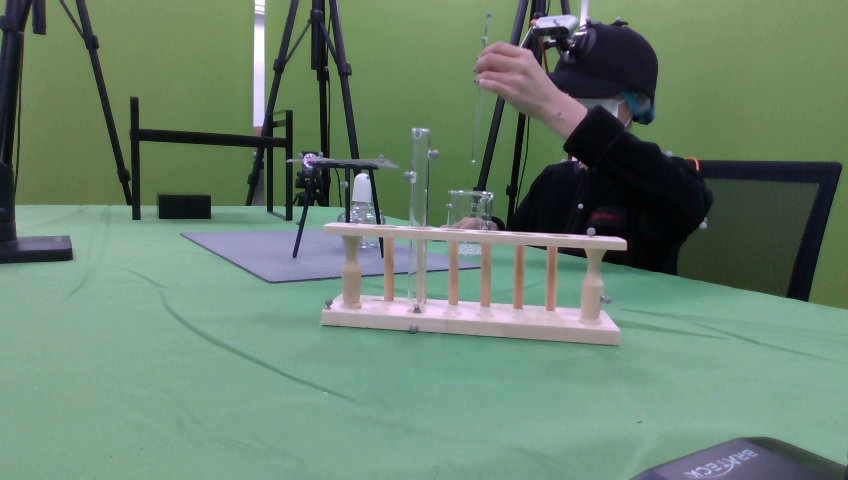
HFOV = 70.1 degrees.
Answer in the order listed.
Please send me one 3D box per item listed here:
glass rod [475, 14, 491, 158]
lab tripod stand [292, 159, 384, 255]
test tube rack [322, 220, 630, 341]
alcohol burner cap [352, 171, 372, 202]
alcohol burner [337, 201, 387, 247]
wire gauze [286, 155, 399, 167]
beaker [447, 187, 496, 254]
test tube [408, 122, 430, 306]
[{"bbox_3d":[0.083,-0.216,0.859,0.008,0.199,0.008,4,14,-1],"label":"glass rod"},{"bbox_3d":[-0.105,-0.039,0.797,0.148,0.131,0.148,2,5,0],"label":"lab tripod stand"},{"bbox_3d":[0.041,0.029,0.512,0.242,0.085,0.067,3,7,5],"label":"test tube rack"},{"bbox_3d":[-0.096,-0.084,0.951,0.034,0.048,0.034,6,5,0],"label":"alcohol burner cap"},{"bbox_3d":[-0.098,-0.049,0.954,0.078,0.119,0.078,0,7,0],"label":"alcohol burner"},{"bbox_3d":[-0.101,-0.105,0.788,0.121,0.011,0.125,4,6,6],"label":"wire gauze"},{"bbox_3d":[0.076,-0.031,0.949,0.074,0.100,0.083,-5,11,-42],"label":"beaker"},{"bbox_3d":[-0.005,-0.019,0.489,0.017,0.150,0.017,1,11,0],"label":"test tube"}]
